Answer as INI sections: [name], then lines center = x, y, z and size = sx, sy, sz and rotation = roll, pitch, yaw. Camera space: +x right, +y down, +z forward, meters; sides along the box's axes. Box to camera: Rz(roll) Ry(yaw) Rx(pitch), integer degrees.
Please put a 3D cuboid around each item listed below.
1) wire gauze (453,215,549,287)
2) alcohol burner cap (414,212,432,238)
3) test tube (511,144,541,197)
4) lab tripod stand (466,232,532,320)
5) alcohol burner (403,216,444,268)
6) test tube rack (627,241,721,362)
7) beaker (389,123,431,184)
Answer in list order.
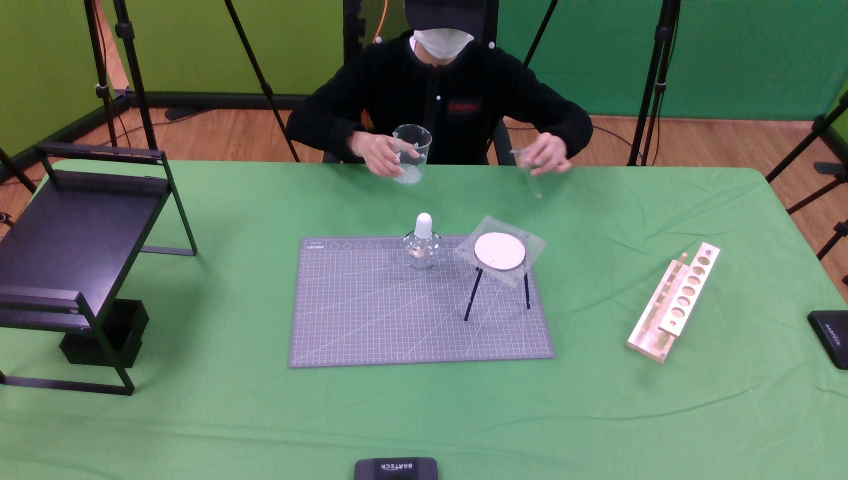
[wire gauze]
center = 0.129, 0.012, 1.017
size = 0.124, 0.011, 0.121
rotation = 28, 50, 23
[alcohol burner cap]
center = 0.000, -0.030, 1.107
size = 0.034, 0.048, 0.033
rotation = 4, 41, -3
[test tube]
center = 0.194, -0.128, 1.141
size = 0.017, 0.151, 0.017
rotation = -15, 52, 20
[lab tripod stand]
center = 0.125, 0.059, 1.065
size = 0.148, 0.132, 0.147
rotation = 1, 45, 0
[alcohol burner]
center = -0.001, -0.004, 1.132
size = 0.078, 0.120, 0.077
rotation = 1, 46, 0
[test tube rack]
center = 0.452, 0.098, 1.087
size = 0.066, 0.085, 0.242
rotation = 28, 51, 22
[beaker]
center = -0.028, -0.167, 1.185
size = 0.074, 0.100, 0.084
rotation = 31, 47, 16
